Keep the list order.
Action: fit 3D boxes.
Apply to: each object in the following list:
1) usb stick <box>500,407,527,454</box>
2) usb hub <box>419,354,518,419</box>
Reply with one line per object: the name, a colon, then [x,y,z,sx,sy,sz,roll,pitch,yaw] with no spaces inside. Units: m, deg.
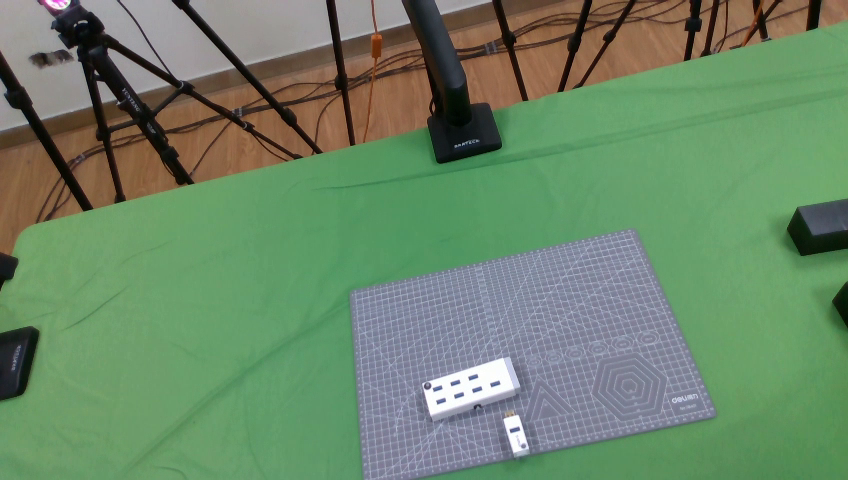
usb stick: [0.111,0.238,0.768,0.021,0.027,0.058,-19,51,4]
usb hub: [0.059,0.195,0.810,0.125,0.025,0.049,-17,53,-1]
